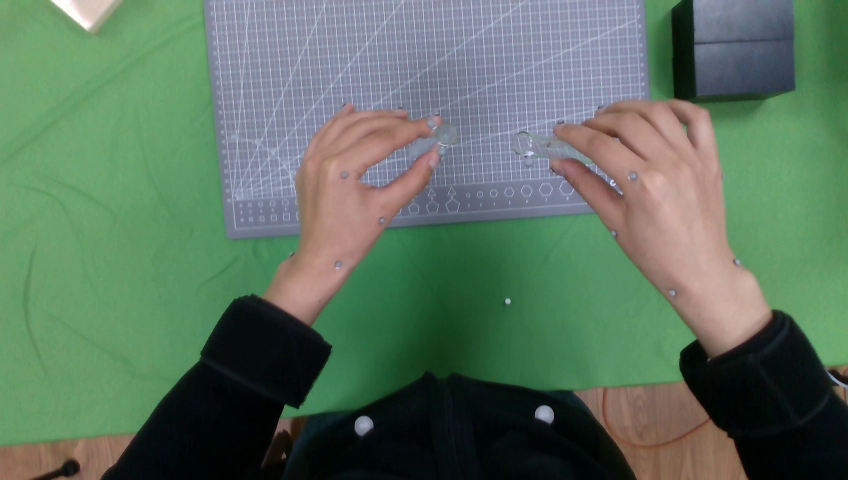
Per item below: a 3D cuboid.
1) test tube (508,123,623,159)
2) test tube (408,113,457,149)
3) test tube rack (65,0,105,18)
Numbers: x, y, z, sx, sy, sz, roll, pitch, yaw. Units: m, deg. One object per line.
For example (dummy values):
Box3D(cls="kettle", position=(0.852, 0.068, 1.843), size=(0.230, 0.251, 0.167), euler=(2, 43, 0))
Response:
Box3D(cls="test tube", position=(0.109, -0.071, 0.443), size=(0.017, 0.151, 0.017), euler=(4, 95, 42))
Box3D(cls="test tube", position=(0.004, -0.084, 0.476), size=(0.017, 0.149, 0.017), euler=(-1, 95, -9))
Box3D(cls="test tube rack", position=(-0.280, -0.331, 0.558), size=(0.067, 0.085, 0.242), euler=(41, 92, -4))
